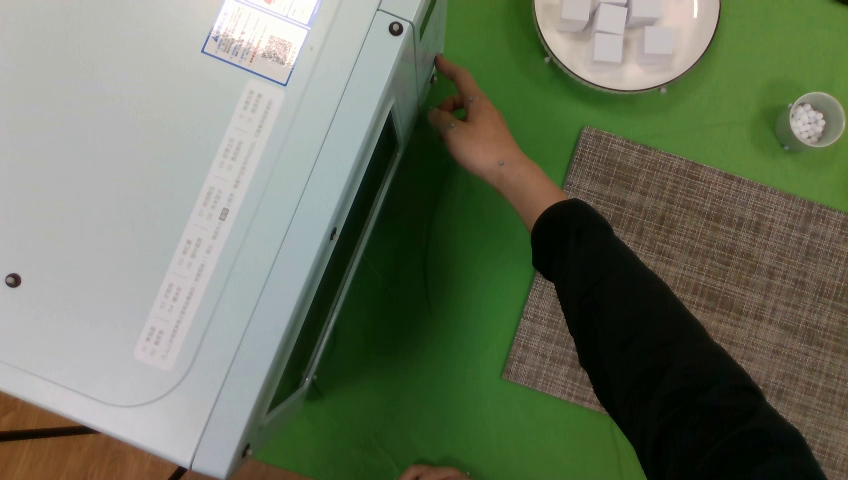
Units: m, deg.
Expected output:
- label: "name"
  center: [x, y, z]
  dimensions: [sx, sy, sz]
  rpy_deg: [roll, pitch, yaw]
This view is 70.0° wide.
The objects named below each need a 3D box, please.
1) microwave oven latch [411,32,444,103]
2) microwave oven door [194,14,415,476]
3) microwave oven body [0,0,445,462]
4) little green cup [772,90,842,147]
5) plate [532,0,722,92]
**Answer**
- label: "microwave oven latch"
  center: [-0.005, -0.192, 0.658]
  dimensions: [0.030, 0.029, 0.079]
  rpy_deg: [25, 88, 1]
- label: "microwave oven door"
  center: [-0.090, 0.006, 0.548]
  dimensions: [0.039, 0.244, 0.355]
  rpy_deg: [21, 87, 1]
- label: "microwave oven body"
  center: [-0.209, -0.088, 0.557]
  dimensions: [0.326, 0.260, 0.441]
  rpy_deg: [22, 88, 1]
- label: "little green cup"
  center: [0.424, -0.133, 0.676]
  dimensions: [0.061, 0.038, 0.061]
  rpy_deg: [0, 86, 0]
- label: "plate"
  center: [0.223, -0.265, 0.681]
  dimensions: [0.208, 0.039, 0.207]
  rpy_deg: [0, 87, 0]
